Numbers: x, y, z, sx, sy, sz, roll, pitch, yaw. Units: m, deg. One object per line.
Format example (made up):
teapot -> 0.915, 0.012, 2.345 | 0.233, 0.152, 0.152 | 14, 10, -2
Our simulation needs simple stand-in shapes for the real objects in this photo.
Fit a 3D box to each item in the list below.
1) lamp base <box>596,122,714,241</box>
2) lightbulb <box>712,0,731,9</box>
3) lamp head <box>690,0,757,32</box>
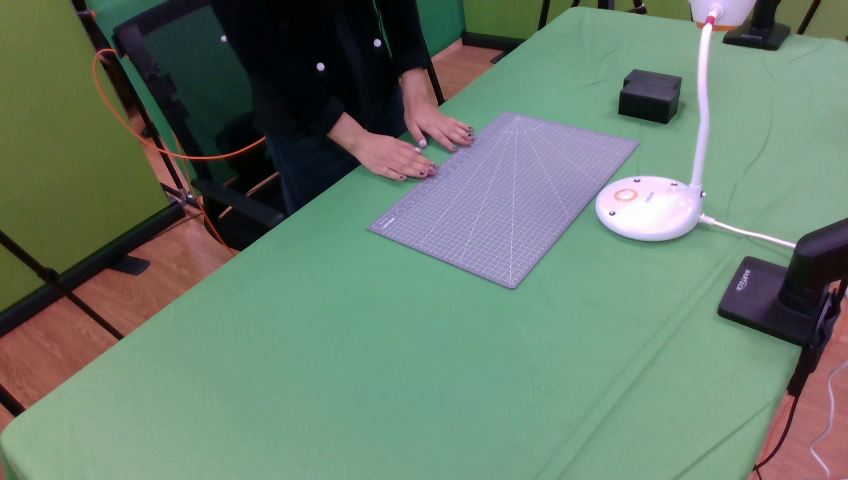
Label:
lamp base -> 0.363, -0.110, 0.921 | 0.178, 0.181, 0.160 | 13, 45, 21
lightbulb -> 0.431, -0.387, 0.863 | 0.059, 0.108, 0.059 | -5, 31, 4
lamp head -> 0.434, -0.363, 0.870 | 0.112, 0.123, 0.112 | 1, 28, 0
